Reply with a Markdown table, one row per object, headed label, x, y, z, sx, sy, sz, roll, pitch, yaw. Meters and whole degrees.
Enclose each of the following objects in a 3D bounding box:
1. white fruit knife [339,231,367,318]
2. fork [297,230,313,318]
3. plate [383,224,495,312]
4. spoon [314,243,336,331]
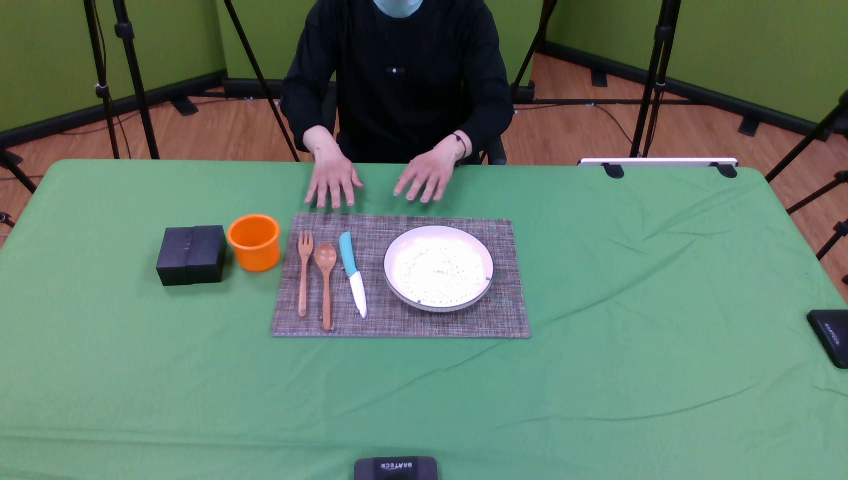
| label | x | y | z | sx | sy | sz | roll | pitch | yaw |
| --- | --- | --- | --- | --- | --- | --- | --- | --- | --- |
| white fruit knife | -0.132 | 0.062 | 1.125 | 0.027 | 0.016 | 0.206 | -17 | 49 | -3 |
| fork | -0.223 | 0.058 | 1.121 | 0.028 | 0.019 | 0.206 | 4 | 44 | -11 |
| plate | 0.026 | 0.055 | 1.128 | 0.209 | 0.038 | 0.208 | 2 | 46 | -2 |
| spoon | -0.179 | 0.082 | 1.098 | 0.042 | 0.022 | 0.192 | 9 | 44 | -18 |
